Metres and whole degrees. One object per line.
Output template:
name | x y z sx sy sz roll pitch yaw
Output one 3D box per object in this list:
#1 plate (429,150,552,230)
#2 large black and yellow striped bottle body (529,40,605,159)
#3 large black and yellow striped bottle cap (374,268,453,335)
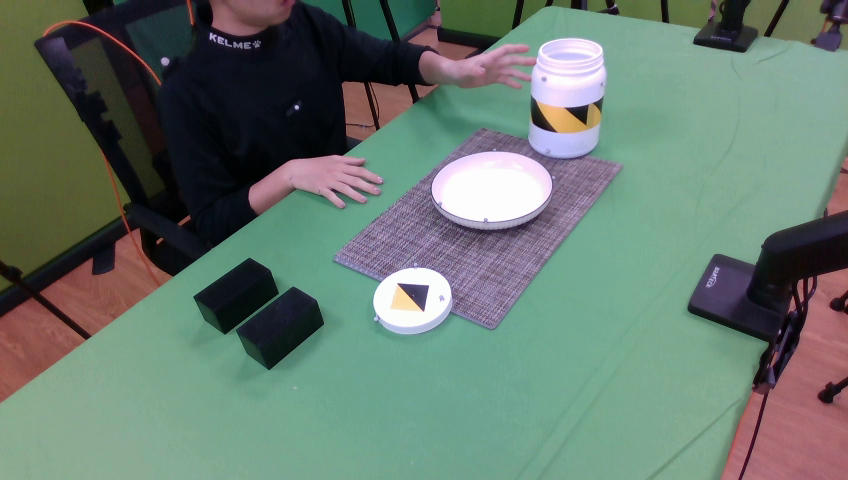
plate | 0.113 -0.082 1.032 0.207 0.039 0.206 -4 41 4
large black and yellow striped bottle body | 0.259 -0.257 1.103 0.131 0.185 0.130 -3 38 3
large black and yellow striped bottle cap | -0.015 0.087 0.871 0.115 0.019 0.114 -6 43 6
